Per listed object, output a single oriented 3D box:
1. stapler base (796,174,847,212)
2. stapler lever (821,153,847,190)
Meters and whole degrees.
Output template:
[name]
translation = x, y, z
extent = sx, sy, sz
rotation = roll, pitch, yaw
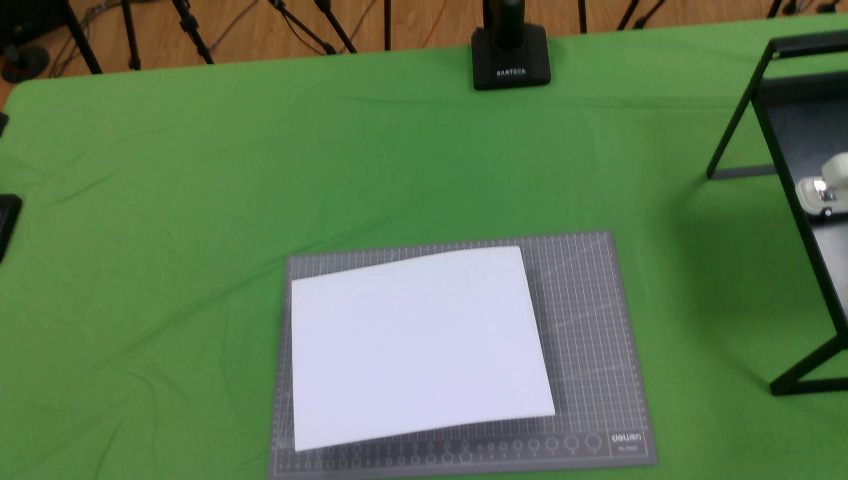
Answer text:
[stapler base]
translation = 0.442, -0.056, 0.600
extent = 0.130, 0.024, 0.041
rotation = -5, 65, 2
[stapler lever]
translation = 0.441, -0.068, 0.577
extent = 0.118, 0.040, 0.026
rotation = -5, 64, 2
